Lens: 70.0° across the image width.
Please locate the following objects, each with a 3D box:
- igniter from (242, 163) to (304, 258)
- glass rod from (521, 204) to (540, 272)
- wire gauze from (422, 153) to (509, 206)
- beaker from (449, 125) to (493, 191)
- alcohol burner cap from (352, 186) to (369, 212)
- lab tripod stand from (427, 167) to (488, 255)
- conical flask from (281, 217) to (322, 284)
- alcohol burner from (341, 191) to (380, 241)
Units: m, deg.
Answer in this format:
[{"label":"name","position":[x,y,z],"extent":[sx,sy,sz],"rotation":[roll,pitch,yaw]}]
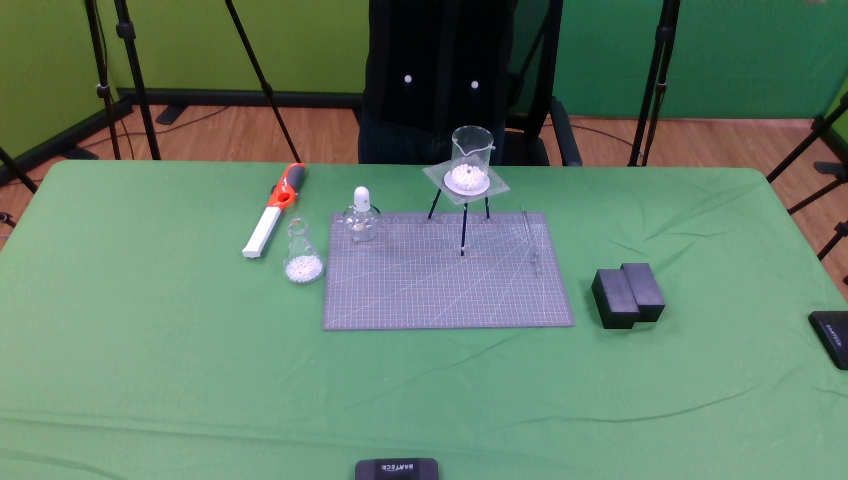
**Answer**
[{"label":"igniter","position":[-0.305,-0.069,1.239],"extent":[0.057,0.025,0.275],"rotation":[2,45,12]},{"label":"glass rod","position":[0.215,-0.008,1.230],"extent":[0.008,0.008,0.198],"rotation":[0,43,-3]},{"label":"wire gauze","position":[0.078,-0.114,1.144],"extent":[0.125,0.011,0.120],"rotation":[-21,49,-20]},{"label":"beaker","position":[0.083,-0.146,1.108],"extent":[0.074,0.101,0.083],"rotation":[15,47,11]},{"label":"alcohol burner cap","position":[-0.121,-0.079,1.149],"extent":[0.034,0.048,0.033],"rotation":[1,40,-1]},{"label":"lab tripod stand","position":[0.076,-0.068,1.191],"extent":[0.148,0.132,0.147],"rotation":[3,44,-2]},{"label":"conical flask","position":[-0.225,0.016,1.097],"extent":[0.075,0.122,0.075],"rotation":[3,46,-2]},{"label":"alcohol burner","position":[-0.123,-0.054,1.175],"extent":[0.078,0.119,0.077],"rotation":[4,47,-4]}]
